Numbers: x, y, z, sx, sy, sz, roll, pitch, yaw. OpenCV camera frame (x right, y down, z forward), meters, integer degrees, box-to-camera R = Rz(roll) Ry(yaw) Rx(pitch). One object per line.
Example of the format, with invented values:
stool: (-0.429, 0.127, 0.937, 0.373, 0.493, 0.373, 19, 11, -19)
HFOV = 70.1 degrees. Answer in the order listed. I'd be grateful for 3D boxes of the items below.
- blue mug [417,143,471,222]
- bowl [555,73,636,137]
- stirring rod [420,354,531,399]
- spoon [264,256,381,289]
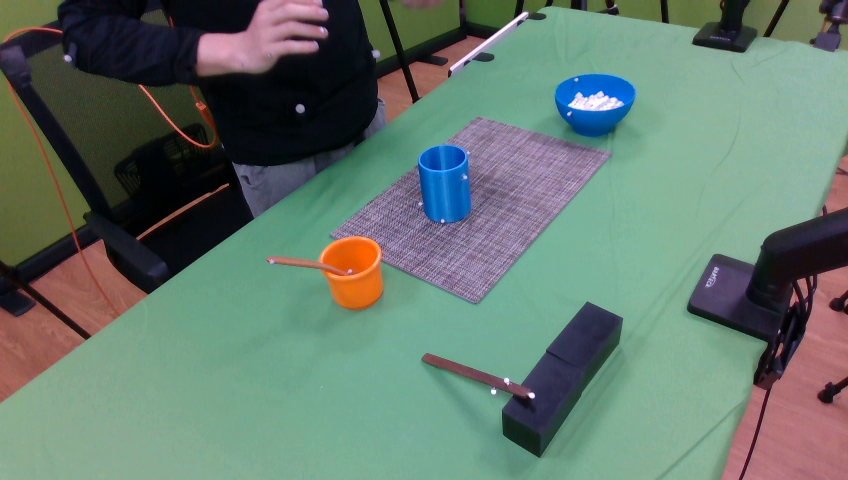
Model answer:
blue mug: (0.031, -0.104, 1.014, 0.082, 0.106, 0.115, -14, 41, -7)
bowl: (0.328, -0.253, 1.172, 0.151, 0.077, 0.150, -4, 41, 4)
stirring rod: (0.058, 0.164, 0.738, 0.174, 0.006, 0.014, 8, 42, 46)
spoon: (-0.136, 0.041, 0.842, 0.021, 0.195, 0.041, -56, 46, 13)
